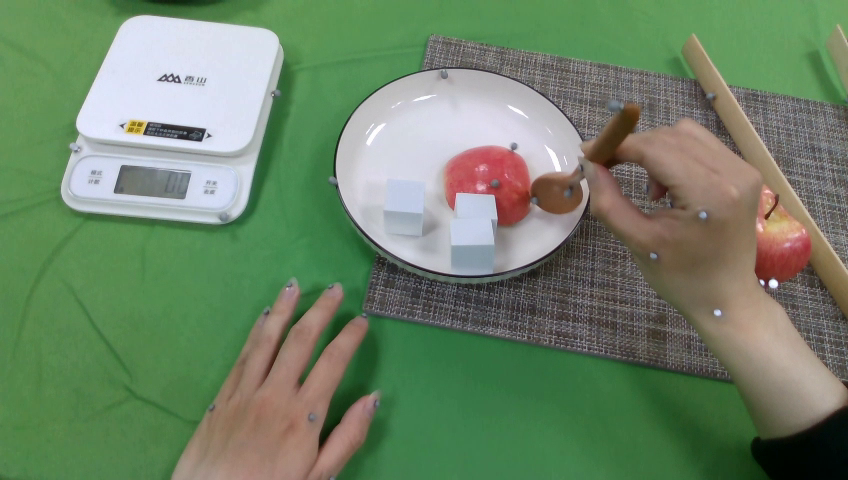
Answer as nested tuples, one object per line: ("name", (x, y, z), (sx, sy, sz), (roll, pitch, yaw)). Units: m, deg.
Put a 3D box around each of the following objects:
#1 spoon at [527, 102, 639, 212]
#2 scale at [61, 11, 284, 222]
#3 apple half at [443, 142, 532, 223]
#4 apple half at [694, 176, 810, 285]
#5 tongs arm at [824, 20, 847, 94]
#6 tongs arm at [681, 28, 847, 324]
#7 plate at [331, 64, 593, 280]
("spoon", (0.103, -0.047, 0.401), (0.041, 0.194, 0.021), (26, 83, 2))
("scale", (-0.210, -0.111, 0.519), (0.149, 0.032, 0.199), (6, 62, -1))
("apple half", (0.054, -0.055, 0.493), (0.081, 0.033, 0.080), (3, 61, -5))
("apple half", (0.238, 0.000, 0.462), (0.053, 0.075, 0.080), (-25, 69, -12))
("tongs arm", (0.395, -0.044, 0.521), (0.051, 0.027, 0.381), (0, 62, -5))
("tongs arm", (0.312, -0.037, 0.513), (0.028, 0.028, 0.384), (-11, 63, -14))
("plate", (0.031, -0.056, 0.498), (0.209, 0.038, 0.207), (2, 61, -3))
